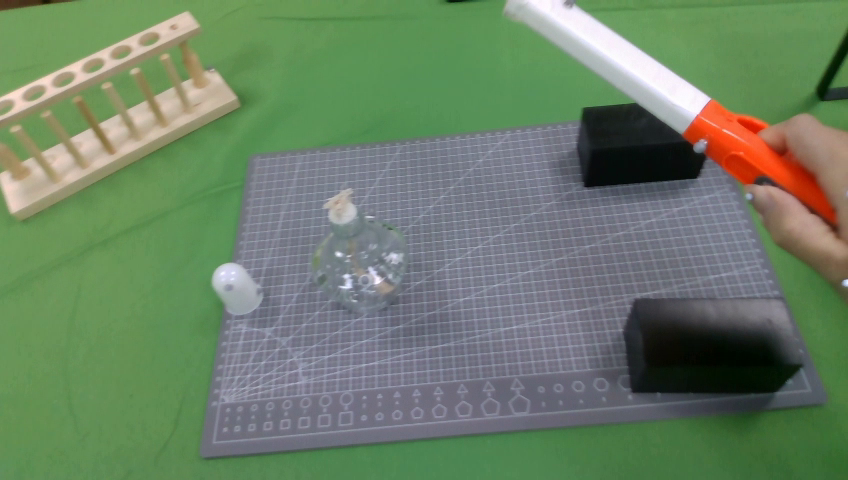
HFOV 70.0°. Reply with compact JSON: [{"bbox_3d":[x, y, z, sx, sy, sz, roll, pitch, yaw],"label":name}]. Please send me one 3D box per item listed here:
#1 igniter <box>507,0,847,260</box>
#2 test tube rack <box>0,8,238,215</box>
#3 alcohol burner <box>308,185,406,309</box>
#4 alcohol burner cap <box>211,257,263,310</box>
[{"bbox_3d":[0.164,-0.066,0.343,0.275,0.025,0.057,40,54,11],"label":"igniter"},{"bbox_3d":[-0.321,-0.131,0.605,0.242,0.086,0.066,-32,59,-15],"label":"test tube rack"},{"bbox_3d":[-0.054,0.002,0.465,0.078,0.120,0.077,-3,53,5],"label":"alcohol burner"},{"bbox_3d":[-0.156,0.033,0.499,0.034,0.048,0.033,-3,57,5],"label":"alcohol burner cap"}]
